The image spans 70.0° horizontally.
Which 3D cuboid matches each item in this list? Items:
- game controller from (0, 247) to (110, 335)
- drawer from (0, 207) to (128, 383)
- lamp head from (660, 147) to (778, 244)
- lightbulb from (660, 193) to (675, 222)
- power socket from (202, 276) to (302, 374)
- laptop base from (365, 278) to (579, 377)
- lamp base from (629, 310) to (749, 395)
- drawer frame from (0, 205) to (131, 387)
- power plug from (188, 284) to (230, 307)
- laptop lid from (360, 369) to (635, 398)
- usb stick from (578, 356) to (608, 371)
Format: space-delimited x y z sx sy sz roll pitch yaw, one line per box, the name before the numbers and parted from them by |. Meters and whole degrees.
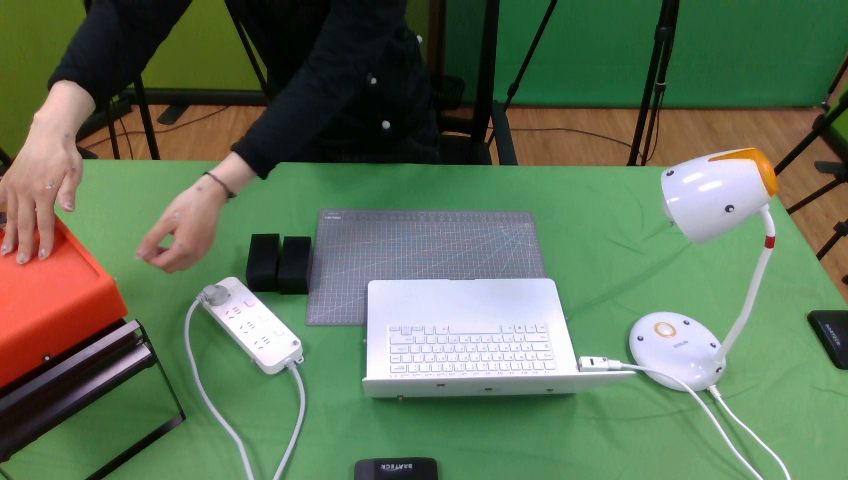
game controller | -0.511 0.063 0.830 0.097 0.052 0.154 -29 57 -34
drawer | -0.539 0.074 0.798 0.193 0.073 0.211 37 55 26
lamp head | 0.389 -0.063 0.784 0.123 0.113 0.112 -22 33 37
lightbulb | 0.366 -0.060 0.805 0.060 0.107 0.059 16 61 -31
power socket | -0.297 0.141 1.034 0.072 0.033 0.225 -34 58 -31
laptop base | 0.076 0.161 1.053 0.355 0.023 0.234 0 44 -4
lamp base | 0.447 0.142 0.984 0.161 0.181 0.178 -24 55 -24
drawer frame | -0.540 0.076 0.795 0.200 0.083 0.213 36 54 26
power plug | -0.369 0.100 1.036 0.072 0.053 0.035 -26 53 -23
laptop lid | 0.090 0.208 0.863 0.357 0.242 0.013 0 70 -6
usb stick | 0.273 0.207 1.007 0.059 0.027 0.021 0 52 0
